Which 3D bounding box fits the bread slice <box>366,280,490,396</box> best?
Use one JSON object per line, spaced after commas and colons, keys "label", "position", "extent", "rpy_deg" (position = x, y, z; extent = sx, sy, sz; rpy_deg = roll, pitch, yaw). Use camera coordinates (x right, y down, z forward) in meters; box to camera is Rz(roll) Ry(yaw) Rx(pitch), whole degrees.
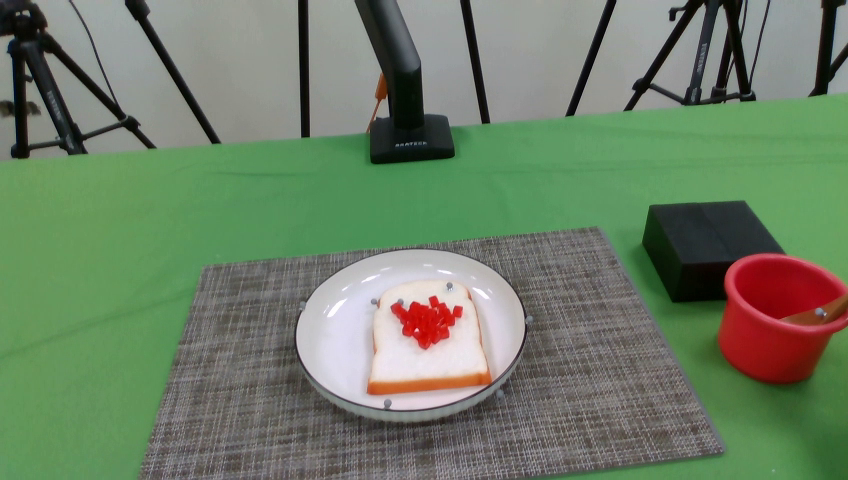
{"label": "bread slice", "position": [0.000, 0.085, 0.556], "extent": [0.105, 0.019, 0.130], "rpy_deg": [-4, 38, -2]}

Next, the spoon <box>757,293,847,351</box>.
{"label": "spoon", "position": [0.340, 0.038, 0.459], "extent": [0.021, 0.194, 0.041], "rpy_deg": [40, 46, 3]}

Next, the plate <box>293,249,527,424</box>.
{"label": "plate", "position": [-0.013, 0.085, 0.554], "extent": [0.209, 0.038, 0.207], "rpy_deg": [-2, 37, 2]}
